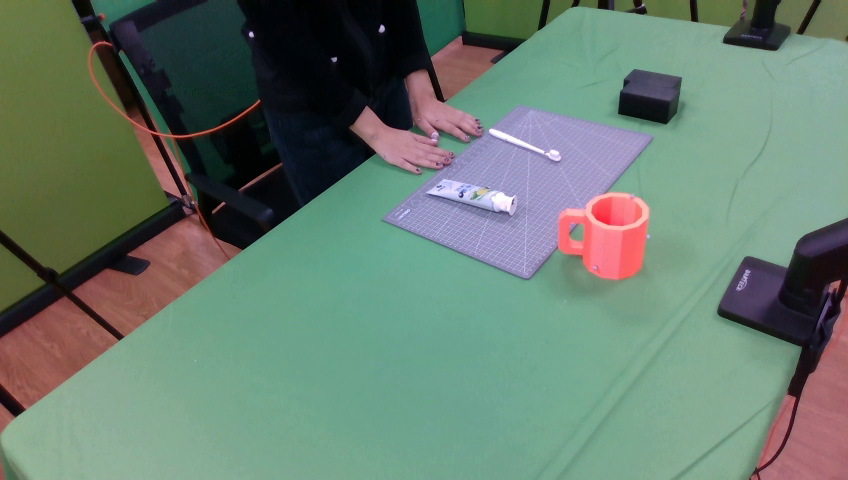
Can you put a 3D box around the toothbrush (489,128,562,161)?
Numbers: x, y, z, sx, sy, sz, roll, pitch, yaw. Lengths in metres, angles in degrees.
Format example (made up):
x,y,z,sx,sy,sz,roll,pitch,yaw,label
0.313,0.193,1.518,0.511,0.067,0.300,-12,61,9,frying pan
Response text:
x,y,z,sx,sy,sz,roll,pitch,yaw,label
0.191,-0.188,1.167,0.014,0.017,0.180,-45,49,-16,toothbrush

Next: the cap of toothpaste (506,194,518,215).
x,y,z,sx,sy,sz,roll,pitch,yaw,label
0.146,-0.060,1.007,0.011,0.037,0.037,14,46,22,cap of toothpaste

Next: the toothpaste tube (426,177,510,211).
x,y,z,sx,sy,sz,roll,pitch,yaw,label
0.083,-0.081,1.054,0.164,0.034,0.055,18,40,34,toothpaste tube

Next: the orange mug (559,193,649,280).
x,y,z,sx,sy,sz,roll,pitch,yaw,label
0.261,-0.008,0.884,0.126,0.101,0.083,9,43,14,orange mug
